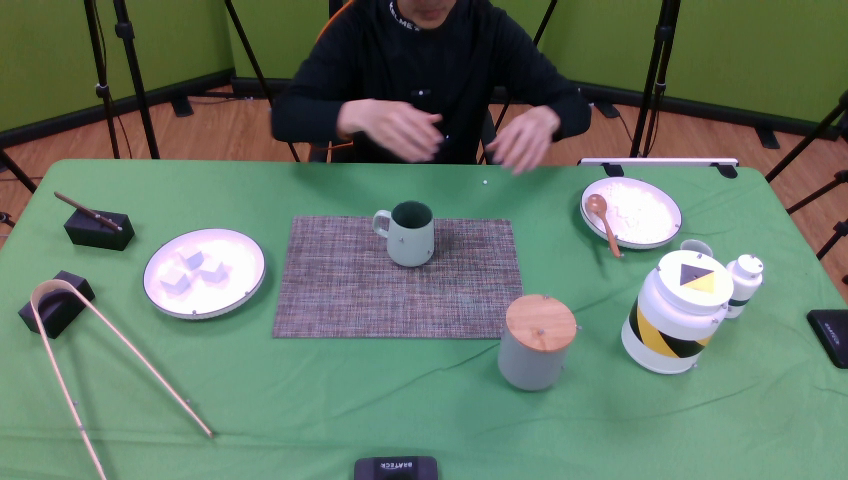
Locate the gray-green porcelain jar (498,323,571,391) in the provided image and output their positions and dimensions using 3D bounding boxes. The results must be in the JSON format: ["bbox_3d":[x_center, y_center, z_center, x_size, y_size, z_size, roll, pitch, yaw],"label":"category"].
[{"bbox_3d":[0.176,0.172,0.971,0.106,0.127,0.105,2,46,-2],"label":"gray-green porcelain jar"}]

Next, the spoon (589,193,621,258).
[{"bbox_3d":[0.368,-0.032,1.220,0.041,0.022,0.192,1,38,0],"label":"spoon"}]

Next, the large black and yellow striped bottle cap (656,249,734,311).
[{"bbox_3d":[0.419,0.061,0.938,0.115,0.019,0.114,2,47,-2],"label":"large black and yellow striped bottle cap"}]

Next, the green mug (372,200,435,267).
[{"bbox_3d":[-0.040,-0.016,1.146,0.125,0.105,0.092,17,48,13],"label":"green mug"}]

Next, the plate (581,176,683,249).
[{"bbox_3d":[0.430,-0.054,1.267,0.209,0.038,0.208,2,46,-2],"label":"plate"}]

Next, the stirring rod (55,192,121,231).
[{"bbox_3d":[-0.632,-0.055,1.138,0.175,0.014,0.006,24,50,19],"label":"stirring rod"}]

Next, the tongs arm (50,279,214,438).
[{"bbox_3d":[-0.459,0.178,0.949,0.386,0.028,0.028,37,60,17],"label":"tongs arm"}]

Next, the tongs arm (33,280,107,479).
[{"bbox_3d":[-0.517,0.214,0.910,0.051,0.026,0.383,-28,63,-27],"label":"tongs arm"}]

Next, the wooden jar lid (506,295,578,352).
[{"bbox_3d":[0.179,0.129,0.925,0.108,0.021,0.107,2,43,-2],"label":"wooden jar lid"}]

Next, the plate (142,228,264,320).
[{"bbox_3d":[-0.394,0.064,1.095,0.208,0.039,0.206,2,46,-2],"label":"plate"}]

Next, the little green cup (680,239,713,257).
[{"bbox_3d":[0.530,0.033,1.189,0.061,0.039,0.061,2,48,-2],"label":"little green cup"}]

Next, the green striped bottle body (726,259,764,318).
[{"bbox_3d":[0.563,0.081,1.089,0.063,0.120,0.063,2,46,-2],"label":"green striped bottle body"}]

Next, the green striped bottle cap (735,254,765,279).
[{"bbox_3d":[0.566,0.046,1.051,0.044,0.020,0.044,0,45,0],"label":"green striped bottle cap"}]

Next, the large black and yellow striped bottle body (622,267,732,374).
[{"bbox_3d":[0.415,0.119,0.997,0.131,0.185,0.130,2,46,-2],"label":"large black and yellow striped bottle body"}]
